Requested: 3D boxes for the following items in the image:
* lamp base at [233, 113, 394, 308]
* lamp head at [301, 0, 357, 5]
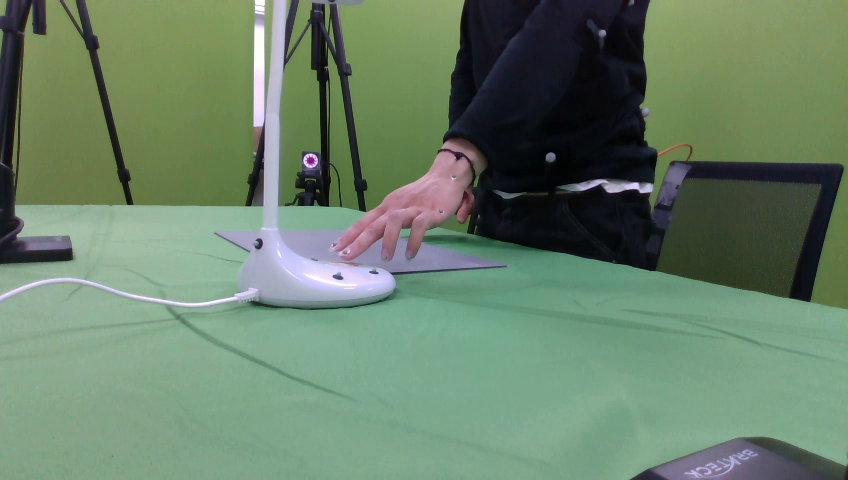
[{"bbox_3d":[-0.113,-0.033,0.600,0.160,0.180,0.180,6,11,28],"label":"lamp base"},{"bbox_3d":[-0.096,-0.314,0.610,0.112,0.123,0.112,-4,50,5],"label":"lamp head"}]
